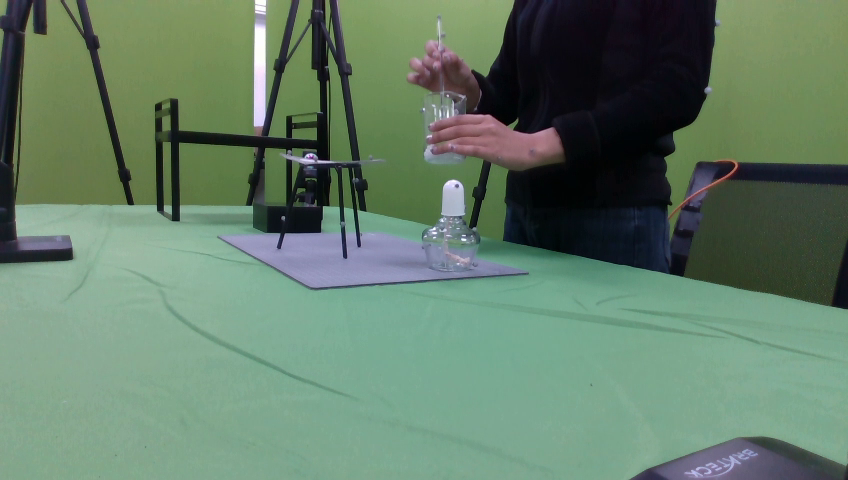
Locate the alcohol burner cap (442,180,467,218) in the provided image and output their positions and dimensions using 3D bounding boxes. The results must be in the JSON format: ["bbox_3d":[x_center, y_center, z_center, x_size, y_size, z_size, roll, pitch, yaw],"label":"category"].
[{"bbox_3d":[0.039,-0.053,0.780,0.034,0.048,0.034,-1,11,1],"label":"alcohol burner cap"}]

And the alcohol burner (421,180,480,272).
[{"bbox_3d":[0.036,-0.018,0.785,0.078,0.119,0.078,4,6,0],"label":"alcohol burner"}]

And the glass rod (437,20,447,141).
[{"bbox_3d":[0.029,-0.255,0.963,0.008,0.199,0.008,-3,-7,0],"label":"glass rod"}]

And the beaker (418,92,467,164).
[{"bbox_3d":[0.034,-0.173,0.946,0.074,0.100,0.083,1,-4,-45],"label":"beaker"}]

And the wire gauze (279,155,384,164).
[{"bbox_3d":[-0.134,-0.114,0.875,0.122,0.011,0.124,-1,8,-30],"label":"wire gauze"}]

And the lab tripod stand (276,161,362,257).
[{"bbox_3d":[-0.143,-0.049,0.884,0.148,0.131,0.148,1,9,0],"label":"lab tripod stand"}]
